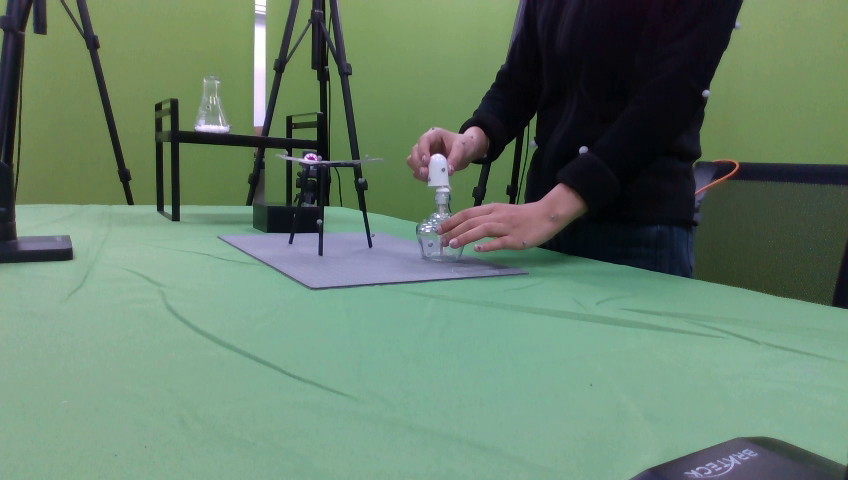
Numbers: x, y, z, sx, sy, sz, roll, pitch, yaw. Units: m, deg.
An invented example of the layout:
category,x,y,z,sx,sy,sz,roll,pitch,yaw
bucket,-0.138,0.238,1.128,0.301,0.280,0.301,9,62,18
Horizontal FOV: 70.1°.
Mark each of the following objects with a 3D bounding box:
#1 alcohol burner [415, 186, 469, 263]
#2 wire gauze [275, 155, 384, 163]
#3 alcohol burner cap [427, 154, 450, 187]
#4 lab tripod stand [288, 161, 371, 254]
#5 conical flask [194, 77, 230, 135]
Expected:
category,x,y,z,sx,sy,sz,roll,pitch,yaw
alcohol burner,0.026,-0.028,0.863,0.078,0.119,0.078,1,6,0
wire gauze,-0.142,-0.118,0.900,0.122,0.011,0.124,-3,8,-37
alcohol burner cap,0.019,-0.098,0.857,0.034,0.048,0.034,-5,6,1
lab tripod stand,-0.148,-0.053,0.909,0.148,0.131,0.148,1,8,0
conical flask,-0.461,-0.292,1.317,0.075,0.122,0.075,2,7,0
